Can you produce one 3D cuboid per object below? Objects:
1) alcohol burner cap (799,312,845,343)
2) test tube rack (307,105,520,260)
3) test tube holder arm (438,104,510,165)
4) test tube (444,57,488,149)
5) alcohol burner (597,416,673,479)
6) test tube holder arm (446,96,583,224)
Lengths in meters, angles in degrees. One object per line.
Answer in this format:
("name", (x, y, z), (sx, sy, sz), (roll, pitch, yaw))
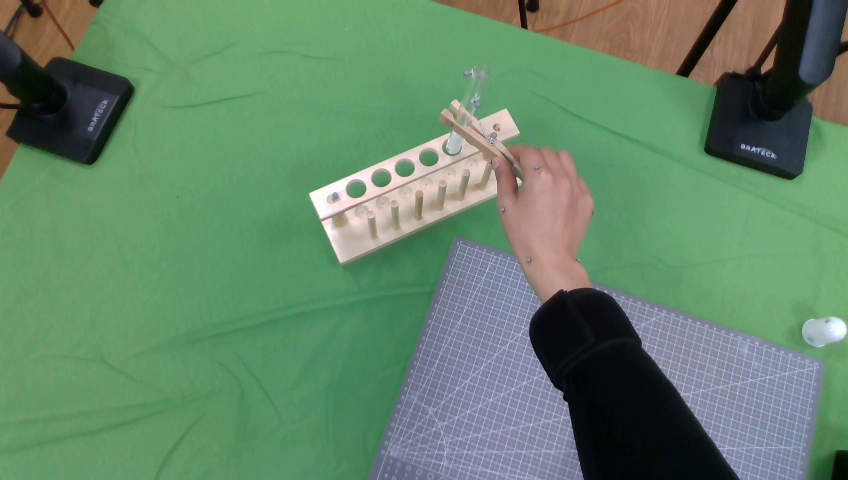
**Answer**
("alcohol burner cap", (0.455, 0.098, 0.689), (0.034, 0.048, 0.033), (0, 74, -1))
("test tube rack", (-0.004, -0.064, 0.699), (0.242, 0.085, 0.066), (-24, 76, -8))
("test tube holder arm", (0.051, -0.105, 0.603), (0.087, 0.015, 0.010), (37, 77, 7))
("test tube", (0.039, -0.128, 0.592), (0.017, 0.151, 0.017), (3, 71, -7))
("alcohol burner", (0.218, 0.217, 0.609), (0.078, 0.119, 0.077), (1, 73, -3))
("test tube holder arm", (0.088, -0.080, 0.598), (0.178, 0.015, 0.013), (43, 78, 9))
